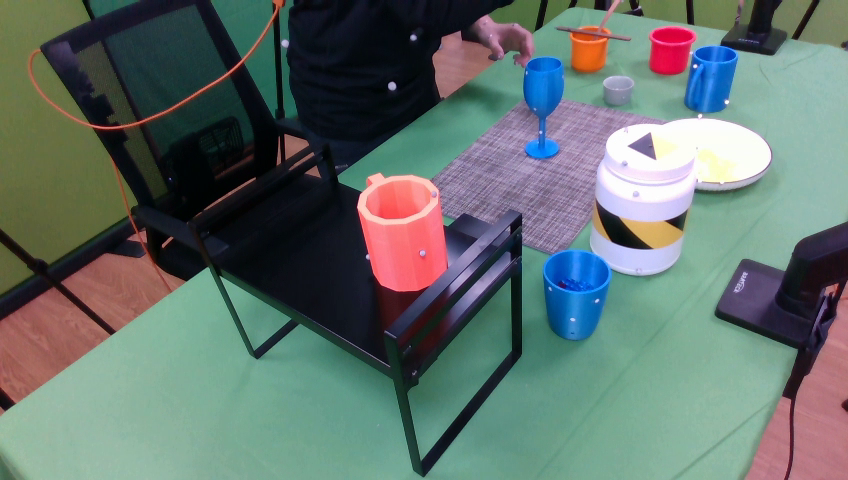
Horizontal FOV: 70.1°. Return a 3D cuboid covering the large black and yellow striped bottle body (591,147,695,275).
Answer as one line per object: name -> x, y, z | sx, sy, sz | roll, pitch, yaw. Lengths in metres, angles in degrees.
large black and yellow striped bottle body -> 0.313, -0.056, 0.871 | 0.131, 0.185, 0.130 | -5, 40, 4

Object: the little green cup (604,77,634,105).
little green cup -> 0.407, -0.311, 1.266 | 0.061, 0.039, 0.061 | -5, 40, 5

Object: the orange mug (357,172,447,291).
orange mug -> -0.030, -0.018, 0.669 | 0.084, 0.101, 0.125 | -23, 47, -16

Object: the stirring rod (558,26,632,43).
stirring rod -> 0.381, -0.462, 1.356 | 0.175, 0.006, 0.014 | 23, 49, 29

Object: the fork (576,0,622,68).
fork -> 0.409, -0.484, 1.381 | 0.028, 0.019, 0.207 | 37, 101, 46

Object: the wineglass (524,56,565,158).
wineglass -> 0.218, -0.240, 1.101 | 0.074, 0.173, 0.073 | -5, 41, 4

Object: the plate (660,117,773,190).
plate -> 0.495, -0.148, 1.063 | 0.209, 0.038, 0.208 | -5, 40, 4

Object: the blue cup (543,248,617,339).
blue cup -> 0.199, 0.076, 0.797 | 0.092, 0.100, 0.092 | -4, 39, 4

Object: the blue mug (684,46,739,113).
blue mug -> 0.556, -0.310, 1.190 | 0.117, 0.106, 0.081 | -32, 46, -25

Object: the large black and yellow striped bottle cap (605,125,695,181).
large black and yellow striped bottle cap -> 0.304, -0.120, 0.817 | 0.115, 0.019, 0.114 | -3, 41, 3
